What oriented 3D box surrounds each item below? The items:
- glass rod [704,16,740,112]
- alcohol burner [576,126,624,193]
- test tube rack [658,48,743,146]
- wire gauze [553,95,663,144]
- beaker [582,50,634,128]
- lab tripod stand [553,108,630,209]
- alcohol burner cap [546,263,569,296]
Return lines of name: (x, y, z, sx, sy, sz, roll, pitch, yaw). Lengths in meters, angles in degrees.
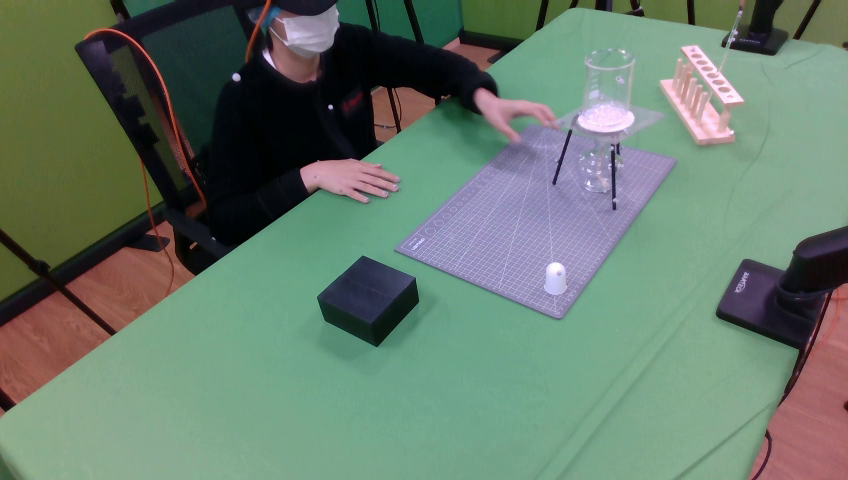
glass rod: (0.549, -0.320, 1.117, 0.008, 0.200, 0.008, -2, 48, 3)
alcohol burner: (0.298, -0.140, 1.019, 0.078, 0.119, 0.077, -3, 40, 3)
test tube rack: (0.532, -0.284, 1.180, 0.067, 0.085, 0.241, -5, 40, 4)
wire gauze: (0.293, -0.191, 0.964, 0.125, 0.011, 0.120, -29, 45, -29)
beaker: (0.285, -0.234, 0.939, 0.084, 0.101, 0.073, -28, 43, -23)
lab tripod stand: (0.292, -0.144, 1.010, 0.148, 0.132, 0.147, -5, 38, 4)
alcohol burner cap: (0.191, 0.053, 0.862, 0.034, 0.048, 0.033, -5, 40, 4)
